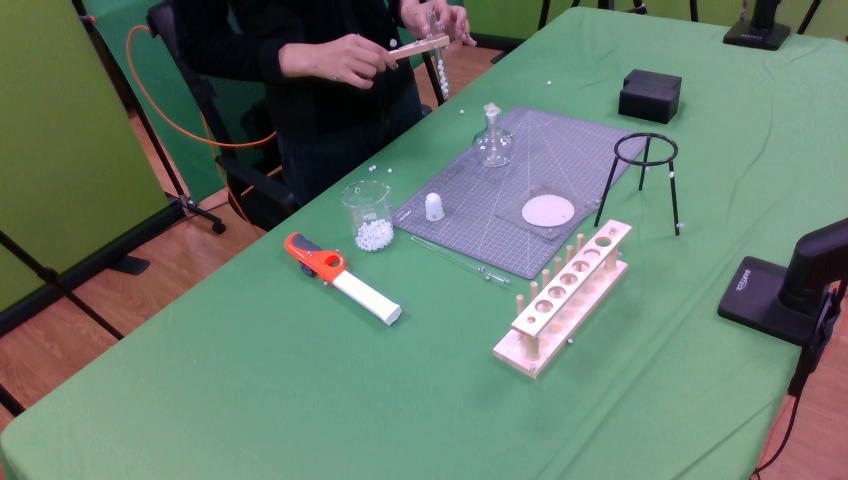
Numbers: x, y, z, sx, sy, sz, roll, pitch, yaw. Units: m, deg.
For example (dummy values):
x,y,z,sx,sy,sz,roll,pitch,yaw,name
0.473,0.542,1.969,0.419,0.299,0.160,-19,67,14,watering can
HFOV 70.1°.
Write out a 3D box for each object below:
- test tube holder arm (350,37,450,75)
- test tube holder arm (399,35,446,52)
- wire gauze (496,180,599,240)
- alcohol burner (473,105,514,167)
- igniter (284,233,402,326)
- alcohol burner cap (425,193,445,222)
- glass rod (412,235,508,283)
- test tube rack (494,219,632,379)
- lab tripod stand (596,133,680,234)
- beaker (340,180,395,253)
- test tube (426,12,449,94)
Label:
x,y,z,sx,sy,sz,roll,pitch,yaw,name
-0.040,-0.312,1.023,0.179,0.015,0.013,-21,34,-10,test tube holder arm
-0.002,-0.331,1.037,0.088,0.015,0.010,-25,36,-16,test tube holder arm
0.206,-0.050,1.012,0.125,0.011,0.120,-34,45,-26,wire gauze
0.128,-0.196,1.116,0.078,0.119,0.077,-4,40,4,alcohol burner
-0.136,0.054,0.942,0.274,0.025,0.057,30,64,37,igniter
0.017,-0.058,1.029,0.034,0.048,0.033,-6,40,5,alcohol burner cap
0.051,0.028,0.951,0.198,0.008,0.008,25,51,37,glass rod
0.191,0.068,0.818,0.066,0.085,0.243,25,51,35,test tube rack
0.338,-0.091,0.940,0.148,0.132,0.147,-7,39,6,lab tripod stand
-0.087,-0.037,0.985,0.084,0.101,0.073,-18,41,-11,beaker
0.025,-0.322,1.052,0.017,0.151,0.017,-8,41,8,test tube
